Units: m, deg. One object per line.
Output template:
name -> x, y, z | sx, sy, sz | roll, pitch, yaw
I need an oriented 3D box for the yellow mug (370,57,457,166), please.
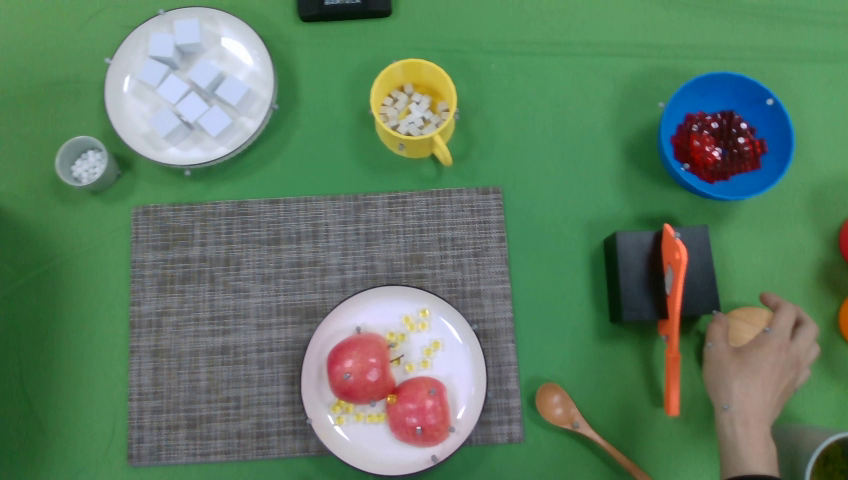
yellow mug -> -0.004, -0.146, 0.725 | 0.100, 0.064, 0.130 | -32, 82, -6

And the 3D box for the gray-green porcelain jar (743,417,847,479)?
gray-green porcelain jar -> 0.406, 0.241, 0.627 | 0.106, 0.127, 0.105 | 0, 79, 0

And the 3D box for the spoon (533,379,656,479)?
spoon -> 0.200, 0.228, 0.682 | 0.193, 0.022, 0.041 | 39, 65, 6

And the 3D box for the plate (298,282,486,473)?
plate -> -0.036, 0.152, 0.684 | 0.209, 0.038, 0.208 | 0, 81, 0

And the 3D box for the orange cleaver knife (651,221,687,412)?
orange cleaver knife -> 0.270, 0.086, 0.677 | 0.012, 0.077, 0.212 | -3, 104, -2

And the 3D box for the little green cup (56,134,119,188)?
little green cup -> -0.401, -0.092, 0.728 | 0.061, 0.039, 0.061 | 0, 81, -1

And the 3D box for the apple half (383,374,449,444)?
apple half -> -0.009, 0.189, 0.671 | 0.081, 0.033, 0.081 | 0, 76, 0

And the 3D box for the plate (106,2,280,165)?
plate -> -0.279, -0.189, 0.747 | 0.208, 0.039, 0.207 | 0, 80, 0

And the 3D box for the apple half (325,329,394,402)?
apple half -> -0.073, 0.140, 0.670 | 0.074, 0.053, 0.080 | -6, 81, 1

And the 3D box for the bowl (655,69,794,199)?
bowl -> 0.338, -0.113, 0.713 | 0.151, 0.077, 0.151 | 0, 80, 0

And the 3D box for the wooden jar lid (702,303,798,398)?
wooden jar lid -> 0.374, 0.128, 0.701 | 0.108, 0.021, 0.108 | 0, 81, 1
